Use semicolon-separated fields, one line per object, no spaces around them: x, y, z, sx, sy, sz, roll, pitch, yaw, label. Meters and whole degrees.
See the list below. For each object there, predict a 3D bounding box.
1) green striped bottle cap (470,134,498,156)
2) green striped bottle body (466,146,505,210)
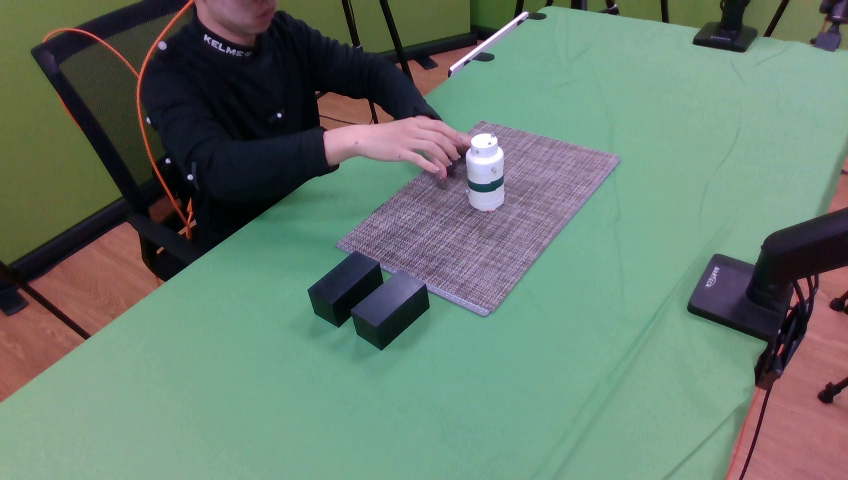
0.096;-0.152;0.971;0.044;0.020;0.044;-6;36;5;green striped bottle cap
0.102;-0.113;1.005;0.063;0.120;0.063;-4;41;4;green striped bottle body
